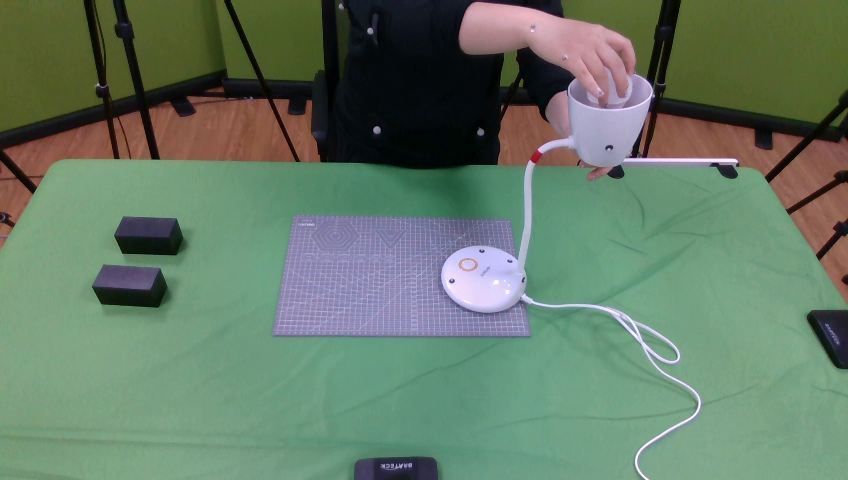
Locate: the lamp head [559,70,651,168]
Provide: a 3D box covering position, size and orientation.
[{"bbox_3d":[0.251,-0.164,0.861,0.112,0.123,0.111,0,42,0],"label":"lamp head"}]

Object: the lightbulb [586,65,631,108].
[{"bbox_3d":[0.255,-0.190,0.846,0.059,0.108,0.059,-4,35,3],"label":"lightbulb"}]

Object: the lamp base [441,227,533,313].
[{"bbox_3d":[0.126,0.022,1.071,0.179,0.181,0.160,23,49,14],"label":"lamp base"}]
